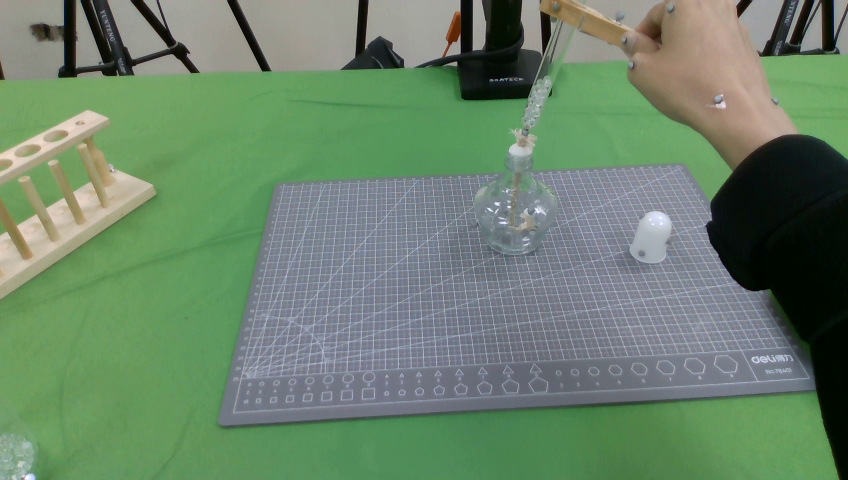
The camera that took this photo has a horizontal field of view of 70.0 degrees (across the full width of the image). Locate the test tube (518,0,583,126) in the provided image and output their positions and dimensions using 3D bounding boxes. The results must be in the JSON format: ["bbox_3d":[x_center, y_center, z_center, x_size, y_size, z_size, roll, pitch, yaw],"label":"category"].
[{"bbox_3d":[0.103,-0.155,0.465,0.017,0.151,0.017,12,35,-8],"label":"test tube"}]

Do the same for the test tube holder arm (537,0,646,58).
[{"bbox_3d":[0.121,-0.157,0.440,0.087,0.015,0.010,35,41,22],"label":"test tube holder arm"}]

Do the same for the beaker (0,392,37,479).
[{"bbox_3d":[-0.303,0.122,0.380,0.084,0.101,0.073,-20,44,-18],"label":"beaker"}]

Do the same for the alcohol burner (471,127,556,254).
[{"bbox_3d":[0.082,-0.047,0.546,0.078,0.120,0.077,-1,40,1],"label":"alcohol burner"}]

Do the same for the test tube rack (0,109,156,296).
[{"bbox_3d":[-0.377,-0.023,0.557,0.066,0.086,0.241,21,46,23],"label":"test tube rack"}]

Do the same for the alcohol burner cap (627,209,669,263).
[{"bbox_3d":[0.205,-0.005,0.551,0.034,0.048,0.033,-1,41,1],"label":"alcohol burner cap"}]

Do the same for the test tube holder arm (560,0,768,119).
[{"bbox_3d":[0.156,-0.133,0.425,0.013,0.015,0.177,-24,53,-40],"label":"test tube holder arm"}]
